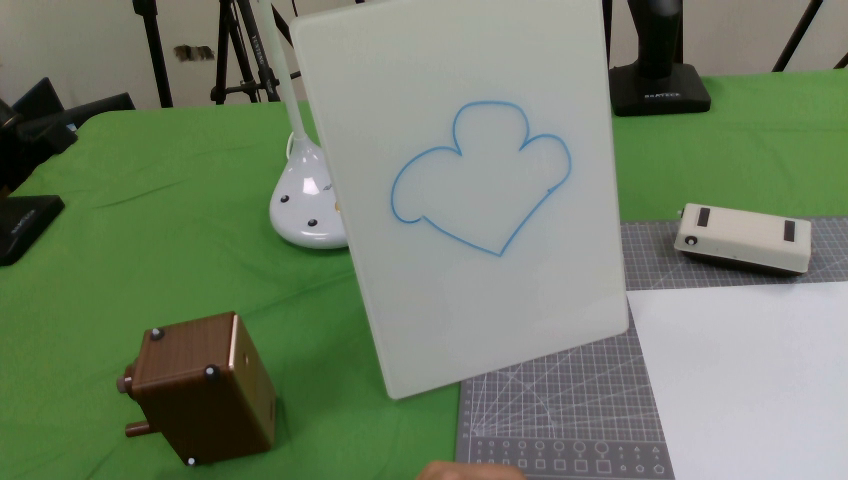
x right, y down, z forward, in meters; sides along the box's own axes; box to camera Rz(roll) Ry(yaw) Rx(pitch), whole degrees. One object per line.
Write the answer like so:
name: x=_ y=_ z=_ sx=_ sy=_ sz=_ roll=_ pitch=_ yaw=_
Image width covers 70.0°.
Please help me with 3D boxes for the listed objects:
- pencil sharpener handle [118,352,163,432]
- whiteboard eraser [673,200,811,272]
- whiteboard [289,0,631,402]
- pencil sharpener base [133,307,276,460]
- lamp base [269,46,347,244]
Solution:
pencil sharpener handle: x=-0.217 y=0.117 z=0.454 sx=0.030 sy=0.068 sz=0.035 roll=-12 pitch=29 yaw=-3
whiteboard eraser: x=0.297 y=-0.003 z=0.569 sx=0.112 sy=0.042 sz=0.055 roll=12 pitch=46 yaw=23
whiteboard: x=0.034 y=-0.054 z=0.519 sx=0.217 sy=0.307 sz=0.142 roll=-15 pitch=22 yaw=-6
pencil sharpener base: x=-0.166 y=0.114 z=0.468 sx=0.077 sy=0.108 sz=0.060 roll=-12 pitch=41 yaw=-3
lamp base: x=-0.118 y=-0.113 z=0.664 sx=0.160 sy=0.182 sz=0.177 roll=-35 pitch=45 yaw=-27
